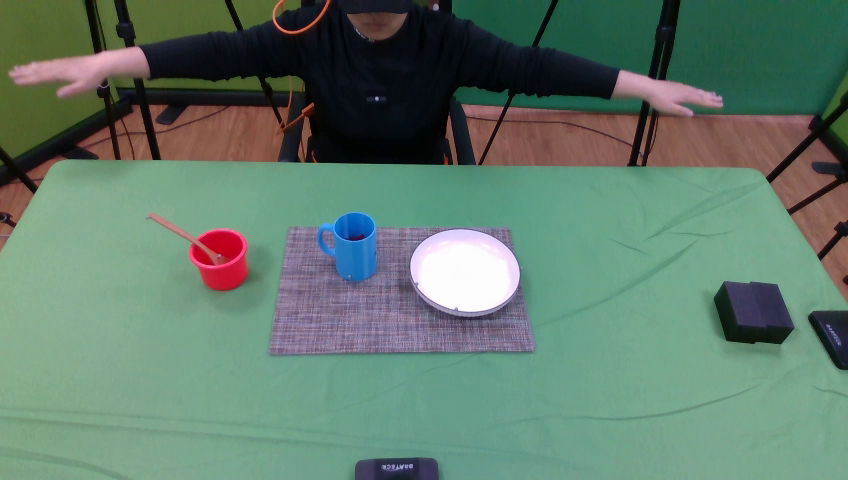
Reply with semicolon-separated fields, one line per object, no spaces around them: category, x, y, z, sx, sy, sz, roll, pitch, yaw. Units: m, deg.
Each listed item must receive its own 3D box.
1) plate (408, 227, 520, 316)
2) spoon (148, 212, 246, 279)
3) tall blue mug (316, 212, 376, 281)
plate;0.073;0.062;1.128;0.208;0.039;0.206;2;46;-2
spoon;-0.400;0.009;1.076;0.194;0.021;0.041;42;37;-25
tall blue mug;-0.142;0.014;1.109;0.107;0.108;0.077;-5;47;-8
